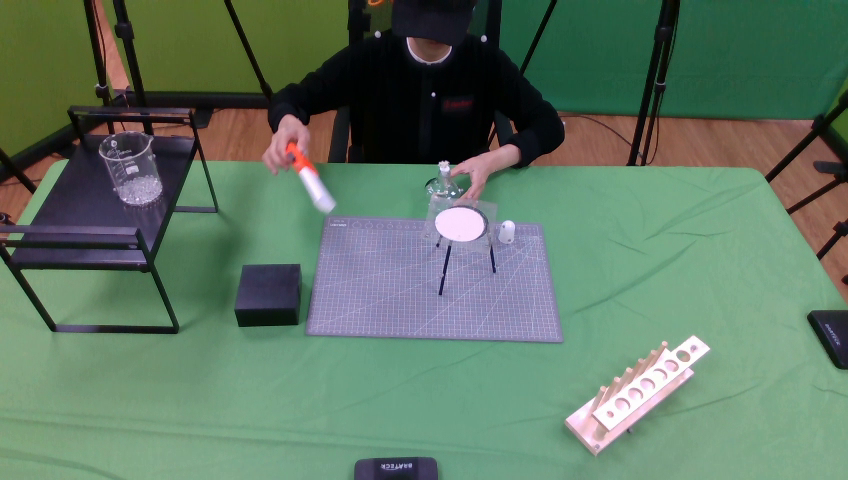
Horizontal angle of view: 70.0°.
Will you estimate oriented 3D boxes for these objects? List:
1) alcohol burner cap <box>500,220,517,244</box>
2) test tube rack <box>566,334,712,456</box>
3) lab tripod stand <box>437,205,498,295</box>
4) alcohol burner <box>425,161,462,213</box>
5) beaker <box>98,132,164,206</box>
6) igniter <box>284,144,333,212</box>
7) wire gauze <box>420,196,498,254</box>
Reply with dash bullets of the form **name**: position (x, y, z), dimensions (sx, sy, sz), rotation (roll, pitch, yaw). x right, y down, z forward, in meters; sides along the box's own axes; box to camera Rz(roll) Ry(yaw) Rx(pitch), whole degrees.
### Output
- **alcohol burner cap**: position (0.170, -0.018, 1.205), dimensions (0.034, 0.048, 0.033), rotation (0, 46, 0)
- **test tube rack**: position (0.339, 0.228, 0.950), dimensions (0.242, 0.085, 0.066), rotation (-26, 52, -26)
- **lab tripod stand**: position (0.066, 0.010, 1.107), dimensions (0.148, 0.132, 0.147), rotation (0, 46, 0)
- **alcohol burner**: position (0.042, -0.114, 1.245), dimensions (0.078, 0.119, 0.077), rotation (3, 45, -3)
- **beaker**: position (-0.460, -0.112, 0.968), dimensions (0.073, 0.101, 0.084), rotation (37, 54, 28)
- **igniter**: position (-0.207, -0.115, 1.058), dimensions (0.025, 0.057, 0.274), rotation (-49, 34, 7)
- **wire gauze**: position (0.062, -0.032, 1.054), dimensions (0.125, 0.011, 0.121), rotation (9, 46, 8)
